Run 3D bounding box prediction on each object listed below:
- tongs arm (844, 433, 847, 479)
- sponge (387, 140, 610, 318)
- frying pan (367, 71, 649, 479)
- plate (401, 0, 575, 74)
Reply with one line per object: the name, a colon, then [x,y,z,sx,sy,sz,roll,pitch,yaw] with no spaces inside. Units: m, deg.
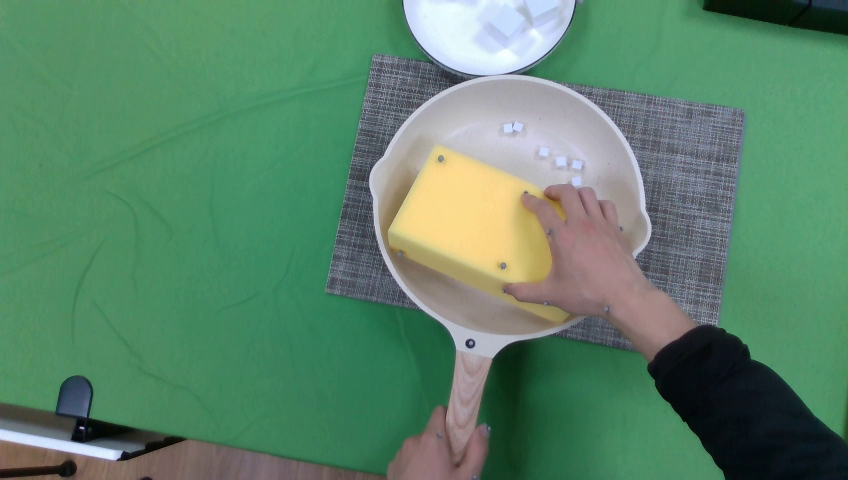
tongs arm: [0.504,0.089,0.667,0.028,0.028,0.386,13,84,3]
sponge: [0.078,-0.012,0.657,0.206,0.061,0.117,23,71,7]
frying pan: [0.065,0.059,0.654,0.306,0.103,0.485,13,76,6]
plate: [0.076,-0.296,0.734,0.207,0.039,0.207,0,83,4]
